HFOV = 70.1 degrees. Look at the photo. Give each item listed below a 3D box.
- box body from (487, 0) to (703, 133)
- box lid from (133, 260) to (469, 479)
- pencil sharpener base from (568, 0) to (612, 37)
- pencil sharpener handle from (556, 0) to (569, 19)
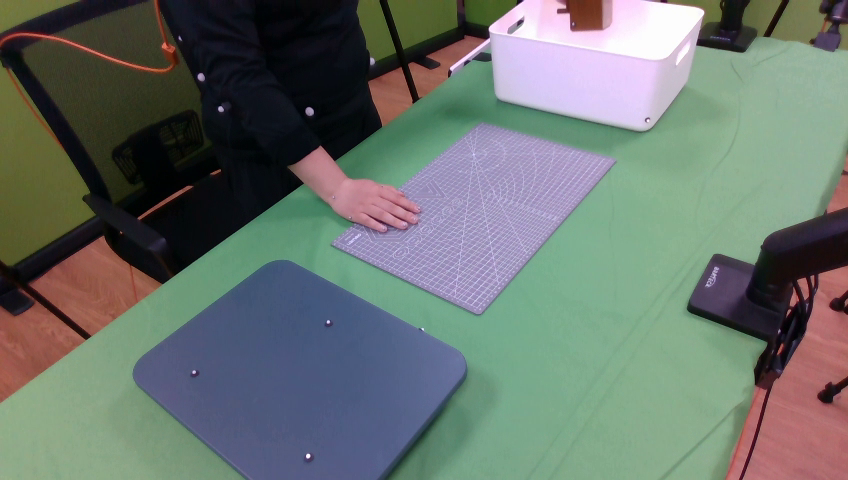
[{"bbox_3d":[0.346,-0.374,1.251,0.361,0.161,0.255,20,48,29],"label":"box body"},{"bbox_3d":[-0.156,0.160,0.747,0.368,0.015,0.264,23,49,31],"label":"box lid"},{"bbox_3d":[0.327,-0.465,1.201,0.076,0.107,0.061,9,32,31],"label":"pencil sharpener base"},{"bbox_3d":[0.282,-0.481,1.220,0.030,0.068,0.036,9,24,32],"label":"pencil sharpener handle"}]
